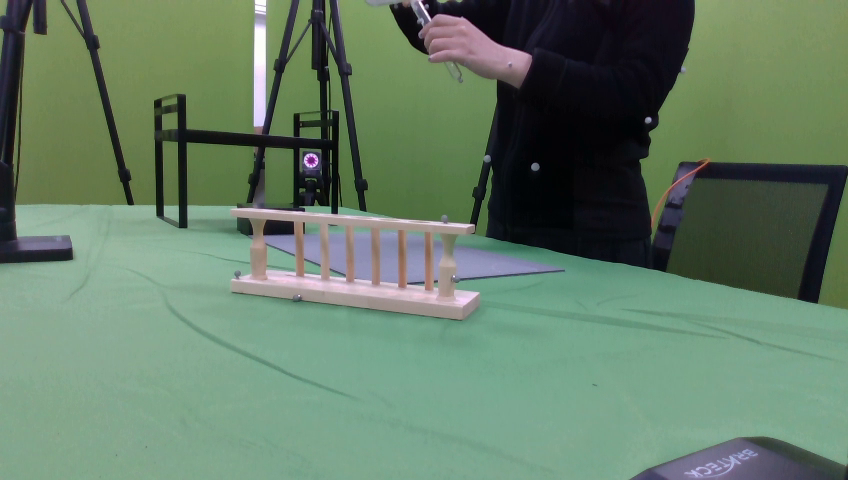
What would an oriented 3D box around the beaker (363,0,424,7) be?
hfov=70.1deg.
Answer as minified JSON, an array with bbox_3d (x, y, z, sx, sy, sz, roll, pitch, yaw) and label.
[{"bbox_3d":[-0.049,-0.408,0.958,0.100,0.084,0.074,6,5,34],"label":"beaker"}]

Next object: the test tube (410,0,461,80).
[{"bbox_3d":[0.018,-0.304,0.916,0.017,0.150,0.017,-26,-15,-7],"label":"test tube"}]

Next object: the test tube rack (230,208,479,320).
[{"bbox_3d":[-0.069,0.017,0.598,0.242,0.085,0.067,5,8,18],"label":"test tube rack"}]
